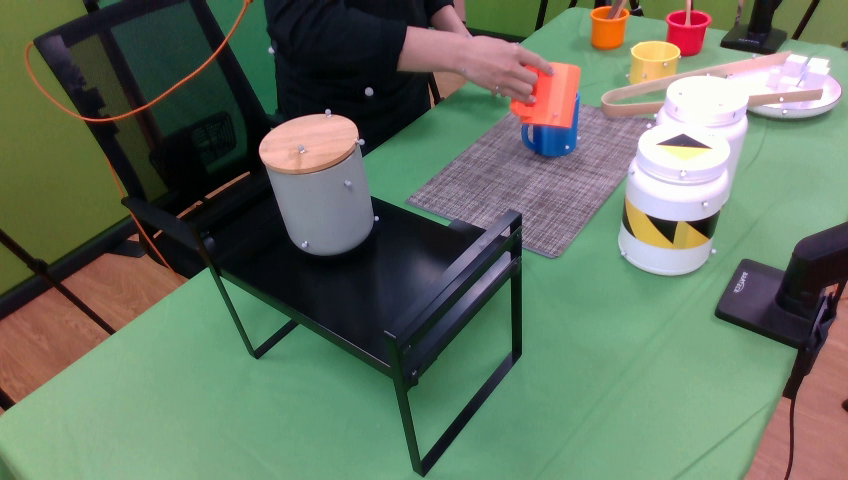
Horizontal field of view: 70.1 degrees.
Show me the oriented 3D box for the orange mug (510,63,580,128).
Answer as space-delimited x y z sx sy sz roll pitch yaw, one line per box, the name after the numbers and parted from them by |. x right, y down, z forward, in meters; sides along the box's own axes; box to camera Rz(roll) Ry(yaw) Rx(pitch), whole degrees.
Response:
0.195 -0.241 0.996 0.127 0.101 0.083 4 10 -38 | orange mug

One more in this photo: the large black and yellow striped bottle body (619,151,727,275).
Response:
0.354 -0.056 0.865 0.131 0.185 0.130 -4 41 4 | large black and yellow striped bottle body

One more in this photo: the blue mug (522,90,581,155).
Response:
0.233 -0.219 1.127 0.117 0.106 0.081 -22 43 -16 | blue mug

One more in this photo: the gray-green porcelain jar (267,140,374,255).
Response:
-0.117 -0.054 0.703 0.106 0.127 0.105 -4 40 4 | gray-green porcelain jar

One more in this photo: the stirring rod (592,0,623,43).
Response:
0.460 -0.557 1.461 0.014 0.176 0.006 35 11 22 | stirring rod

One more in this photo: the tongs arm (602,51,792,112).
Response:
0.552 -0.320 1.224 0.384 0.027 0.050 -10 43 7 | tongs arm

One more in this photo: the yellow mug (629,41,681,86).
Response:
0.495 -0.389 1.321 0.100 0.064 0.130 -14 40 -6 | yellow mug

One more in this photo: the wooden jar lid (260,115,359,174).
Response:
-0.124 -0.101 0.662 0.108 0.021 0.108 -4 41 4 | wooden jar lid

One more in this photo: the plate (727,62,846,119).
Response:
0.709 -0.292 1.197 0.207 0.039 0.206 -4 40 4 | plate

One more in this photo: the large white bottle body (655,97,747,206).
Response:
0.430 -0.148 0.959 0.130 0.185 0.130 -4 41 4 | large white bottle body

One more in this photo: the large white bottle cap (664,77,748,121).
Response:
0.421 -0.212 0.905 0.115 0.018 0.114 -4 40 4 | large white bottle cap

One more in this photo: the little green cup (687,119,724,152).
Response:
0.514 -0.191 1.109 0.061 0.039 0.061 -5 40 5 | little green cup

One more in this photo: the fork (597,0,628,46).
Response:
0.479 -0.558 1.455 0.028 0.019 0.207 35 100 38 | fork

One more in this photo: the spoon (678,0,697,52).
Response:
0.614 -0.526 1.402 0.041 0.022 0.193 3 86 11 | spoon

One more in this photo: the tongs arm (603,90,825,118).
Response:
0.546 -0.262 1.163 0.386 0.028 0.028 -1 49 18 | tongs arm

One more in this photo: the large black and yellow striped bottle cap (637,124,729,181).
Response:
0.346 -0.119 0.810 0.115 0.019 0.114 -5 41 5 | large black and yellow striped bottle cap
